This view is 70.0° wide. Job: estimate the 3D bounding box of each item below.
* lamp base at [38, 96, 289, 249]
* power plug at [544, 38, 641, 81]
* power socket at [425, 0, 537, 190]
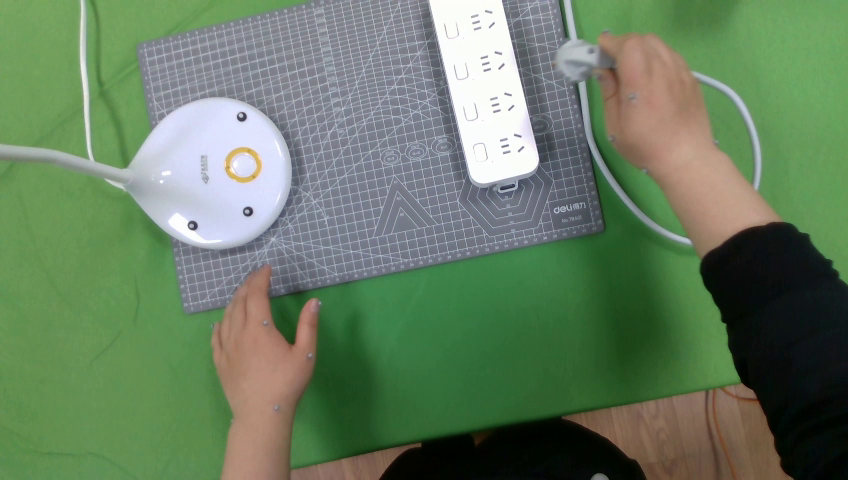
[{"bbox_3d":[-0.240,-0.069,0.560,0.179,0.180,0.160,-17,87,8],"label":"lamp base"},{"bbox_3d":[0.141,-0.148,0.523,0.073,0.052,0.035,22,87,-18],"label":"power plug"},{"bbox_3d":[0.057,-0.163,0.609,0.072,0.032,0.226,-14,87,4],"label":"power socket"}]
